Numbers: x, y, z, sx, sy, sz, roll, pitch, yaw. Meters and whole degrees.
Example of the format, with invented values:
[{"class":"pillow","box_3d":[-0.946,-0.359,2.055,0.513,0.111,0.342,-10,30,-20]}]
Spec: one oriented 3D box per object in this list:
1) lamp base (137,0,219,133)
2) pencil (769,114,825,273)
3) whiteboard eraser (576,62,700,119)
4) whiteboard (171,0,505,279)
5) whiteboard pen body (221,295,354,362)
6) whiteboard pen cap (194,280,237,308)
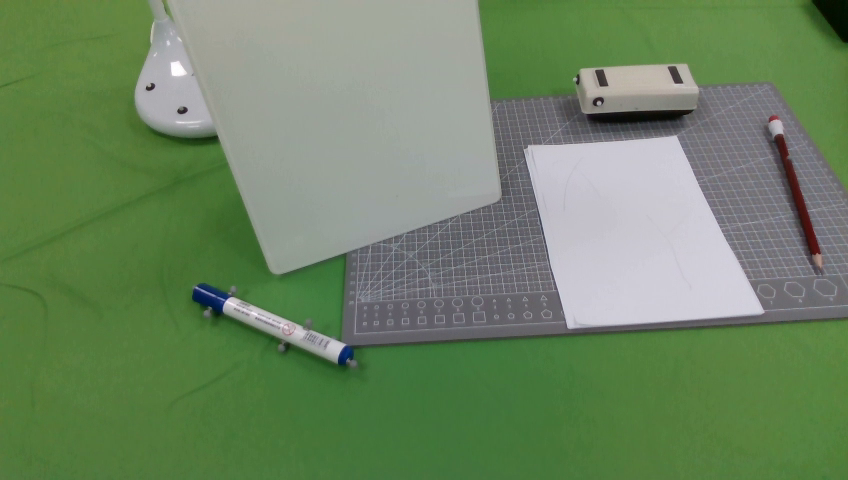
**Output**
[{"class":"lamp base","box_3d":[-0.248,-0.228,0.618,0.177,0.182,0.160,30,57,28]},{"class":"pencil","box_3d":[0.334,-0.048,0.543,0.012,0.012,0.192,5,52,7]},{"class":"whiteboard eraser","box_3d":[0.215,-0.151,0.616,0.112,0.042,0.055,-1,51,2]},{"class":"whiteboard","box_3d":[-0.074,-0.160,0.508,0.217,0.308,0.142,-18,32,-11]},{"class":"whiteboard pen body","box_3d":[-0.117,0.064,0.471,0.140,0.017,0.017,19,53,19]},{"class":"whiteboard pen cap","box_3d":[-0.168,0.044,0.490,0.033,0.018,0.018,18,53,22]}]
